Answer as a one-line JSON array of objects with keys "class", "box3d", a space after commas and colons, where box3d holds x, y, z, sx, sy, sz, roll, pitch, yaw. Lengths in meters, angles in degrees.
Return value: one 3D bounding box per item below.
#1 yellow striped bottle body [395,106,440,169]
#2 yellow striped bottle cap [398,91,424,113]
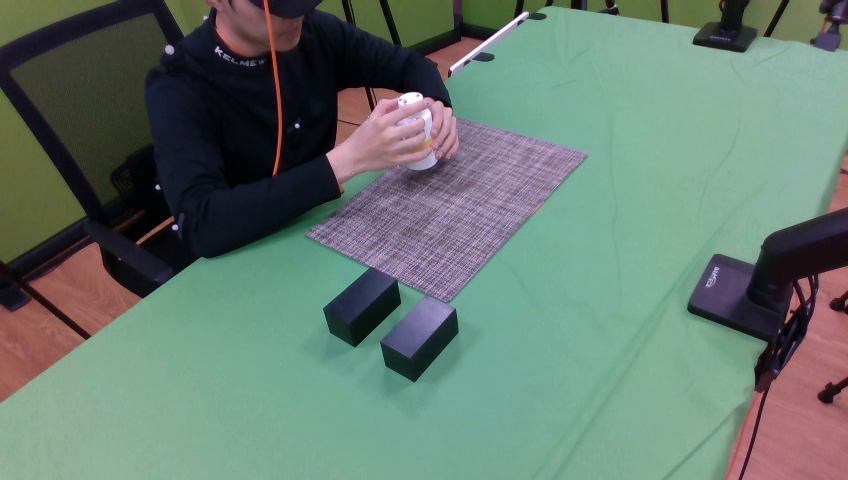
[{"class": "yellow striped bottle body", "box3d": [-0.013, -0.191, 1.062, 0.063, 0.121, 0.062, -8, 41, 7]}, {"class": "yellow striped bottle cap", "box3d": [-0.022, -0.234, 1.024, 0.044, 0.019, 0.044, -7, 42, 7]}]
